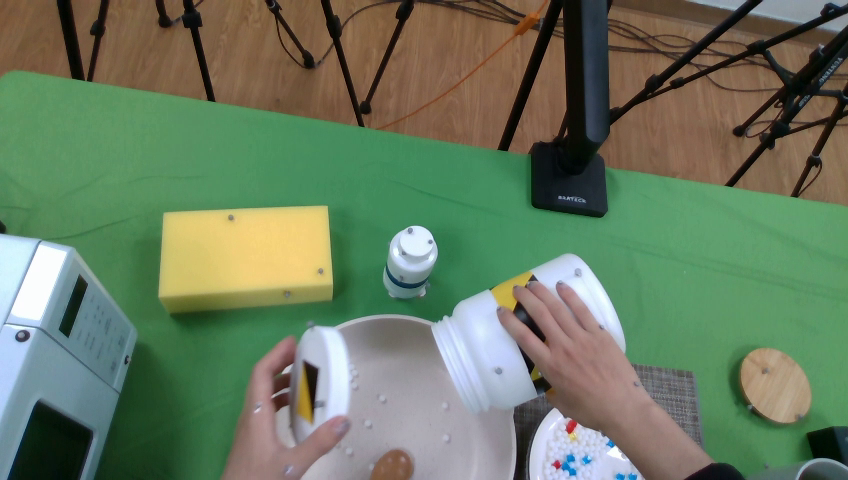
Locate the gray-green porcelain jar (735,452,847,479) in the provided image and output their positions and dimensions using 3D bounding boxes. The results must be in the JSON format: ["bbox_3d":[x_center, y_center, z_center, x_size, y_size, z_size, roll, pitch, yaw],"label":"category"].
[{"bbox_3d":[0.453,0.321,0.741,0.106,0.127,0.105,4,63,-8],"label":"gray-green porcelain jar"}]

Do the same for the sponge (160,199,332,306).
[{"bbox_3d":[-0.228,0.015,0.795,0.207,0.061,0.117,-4,65,-13],"label":"sponge"}]

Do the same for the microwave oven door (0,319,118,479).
[{"bbox_3d":[-0.366,0.271,0.521,0.039,0.245,0.353,9,63,-7],"label":"microwave oven door"}]

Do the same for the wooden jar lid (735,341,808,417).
[{"bbox_3d":[0.494,0.199,0.868,0.108,0.021,0.107,4,65,-8],"label":"wooden jar lid"}]

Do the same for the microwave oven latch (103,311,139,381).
[{"bbox_3d":[-0.359,0.122,0.710,0.030,0.029,0.078,9,64,-7],"label":"microwave oven latch"}]

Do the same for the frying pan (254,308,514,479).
[{"bbox_3d":[-0.007,0.310,0.666,0.307,0.103,0.483,-13,59,-16],"label":"frying pan"}]

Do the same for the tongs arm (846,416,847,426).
[{"bbox_3d":[0.574,0.414,0.738,0.051,0.026,0.382,4,74,-11],"label":"tongs arm"}]

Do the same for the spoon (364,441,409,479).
[{"bbox_3d":[-0.081,0.288,0.669,0.041,0.022,0.194,51,39,8],"label":"spoon"}]

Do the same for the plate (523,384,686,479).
[{"bbox_3d":[0.222,0.287,0.759,0.209,0.038,0.207,4,64,-8],"label":"plate"}]

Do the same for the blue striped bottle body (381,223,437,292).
[{"bbox_3d":[-0.020,0.020,0.799,0.063,0.121,0.062,5,63,-9],"label":"blue striped bottle body"}]

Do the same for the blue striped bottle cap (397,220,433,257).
[{"bbox_3d":[-0.011,-0.003,0.753,0.045,0.021,0.044,4,61,-7],"label":"blue striped bottle cap"}]

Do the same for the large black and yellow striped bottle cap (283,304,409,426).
[{"bbox_3d":[-0.067,0.109,0.535,0.116,0.019,0.114,22,41,-20],"label":"large black and yellow striped bottle cap"}]

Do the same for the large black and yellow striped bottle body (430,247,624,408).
[{"bbox_3d":[0.110,0.101,0.677,0.184,0.132,0.129,-25,70,2],"label":"large black and yellow striped bottle body"}]

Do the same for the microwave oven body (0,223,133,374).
[{"bbox_3d":[-0.506,0.213,0.529,0.327,0.261,0.438,9,64,-7],"label":"microwave oven body"}]
